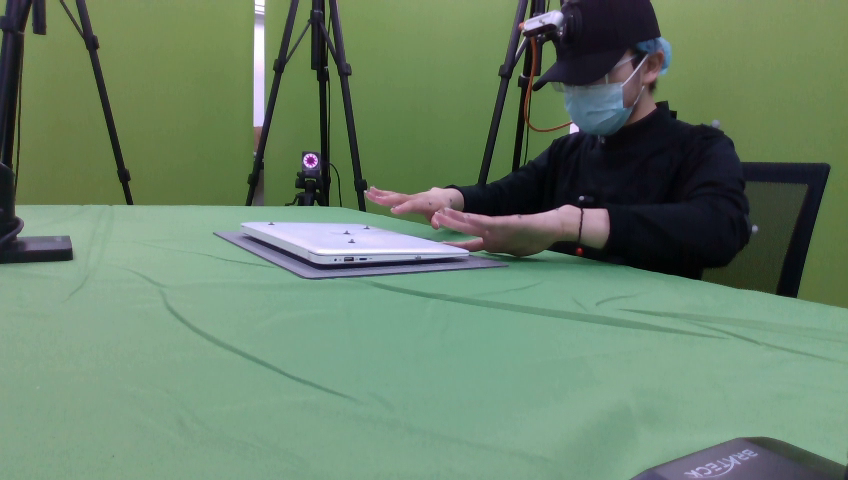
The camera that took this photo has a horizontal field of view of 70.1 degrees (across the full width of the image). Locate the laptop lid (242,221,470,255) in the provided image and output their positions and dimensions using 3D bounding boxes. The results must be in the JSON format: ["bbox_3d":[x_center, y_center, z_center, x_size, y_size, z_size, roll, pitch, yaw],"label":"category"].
[{"bbox_3d":[-0.121,-0.007,0.936,0.243,0.013,0.355,1,7,-31],"label":"laptop lid"}]

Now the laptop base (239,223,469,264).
[{"bbox_3d":[-0.123,0.005,0.936,0.237,0.023,0.352,2,6,-33],"label":"laptop base"}]
